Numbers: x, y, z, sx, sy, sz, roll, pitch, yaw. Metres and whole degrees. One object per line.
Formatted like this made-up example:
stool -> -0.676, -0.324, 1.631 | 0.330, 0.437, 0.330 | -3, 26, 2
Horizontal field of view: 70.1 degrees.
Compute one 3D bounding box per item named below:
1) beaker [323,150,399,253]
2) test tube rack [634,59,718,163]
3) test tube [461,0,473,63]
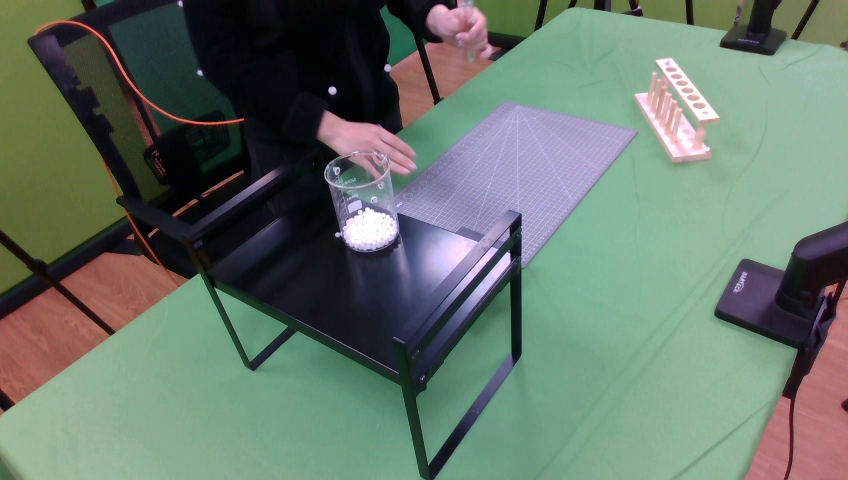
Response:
beaker -> -0.067, -0.043, 0.699 | 0.073, 0.101, 0.084 | 28, 51, 35
test tube rack -> 0.470, -0.250, 1.148 | 0.067, 0.085, 0.241 | -6, 40, 3
test tube -> 0.071, -0.337, 0.988 | 0.017, 0.151, 0.017 | -1, 71, 5
